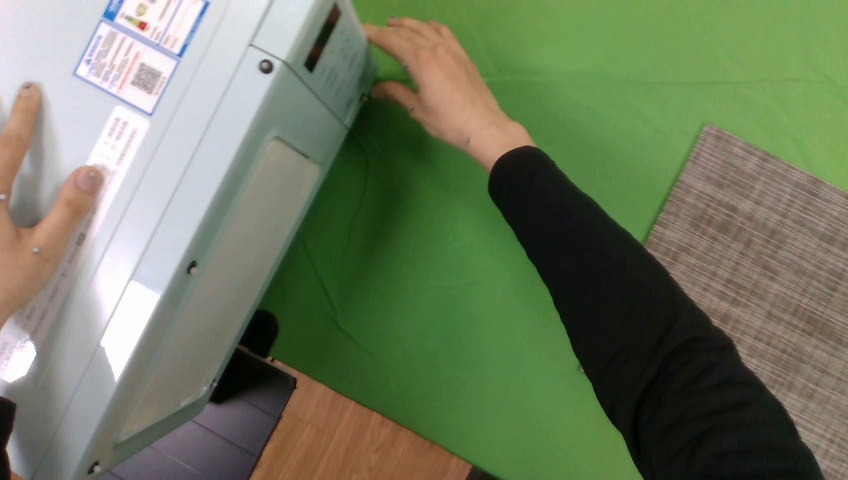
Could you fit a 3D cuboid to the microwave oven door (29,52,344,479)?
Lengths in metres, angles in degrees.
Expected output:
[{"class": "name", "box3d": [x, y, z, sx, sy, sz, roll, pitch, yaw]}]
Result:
[{"class": "microwave oven door", "box3d": [-0.190, 0.025, 0.547, 0.039, 0.244, 0.355, 28, 91, 3]}]

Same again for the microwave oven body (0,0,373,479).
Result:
[{"class": "microwave oven body", "box3d": [-0.298, -0.081, 0.556, 0.326, 0.260, 0.441, 28, 92, 2]}]

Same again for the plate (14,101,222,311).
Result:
[{"class": "plate", "box3d": [-0.303, -0.034, 0.614, 0.209, 0.038, 0.209, 0, 92, 3]}]

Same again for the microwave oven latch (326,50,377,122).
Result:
[{"class": "microwave oven latch", "box3d": [-0.079, -0.167, 0.642, 0.030, 0.029, 0.079, 30, 92, 2]}]
